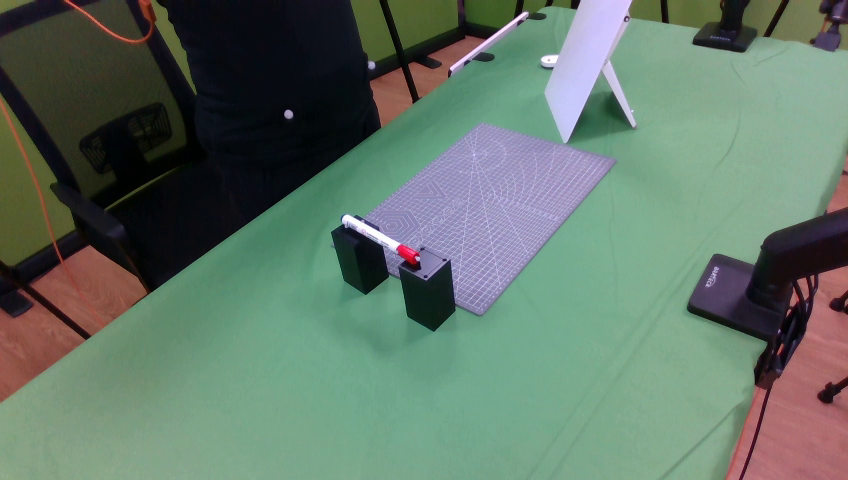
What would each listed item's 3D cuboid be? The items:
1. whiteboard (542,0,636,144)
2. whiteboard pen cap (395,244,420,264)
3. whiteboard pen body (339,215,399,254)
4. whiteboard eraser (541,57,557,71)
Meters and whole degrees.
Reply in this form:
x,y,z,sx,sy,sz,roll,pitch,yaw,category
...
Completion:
x,y,z,sx,sy,sz,roll,pitch,yaw,category
0.366,-0.351,1.160,0.144,0.305,0.216,10,39,-10,whiteboard
-0.022,0.018,0.800,0.032,0.017,0.017,29,52,36,whiteboard pen cap
-0.067,-0.004,0.835,0.139,0.017,0.017,28,51,33,whiteboard pen body
0.323,-0.412,1.407,0.101,0.019,0.041,1,42,11,whiteboard eraser
